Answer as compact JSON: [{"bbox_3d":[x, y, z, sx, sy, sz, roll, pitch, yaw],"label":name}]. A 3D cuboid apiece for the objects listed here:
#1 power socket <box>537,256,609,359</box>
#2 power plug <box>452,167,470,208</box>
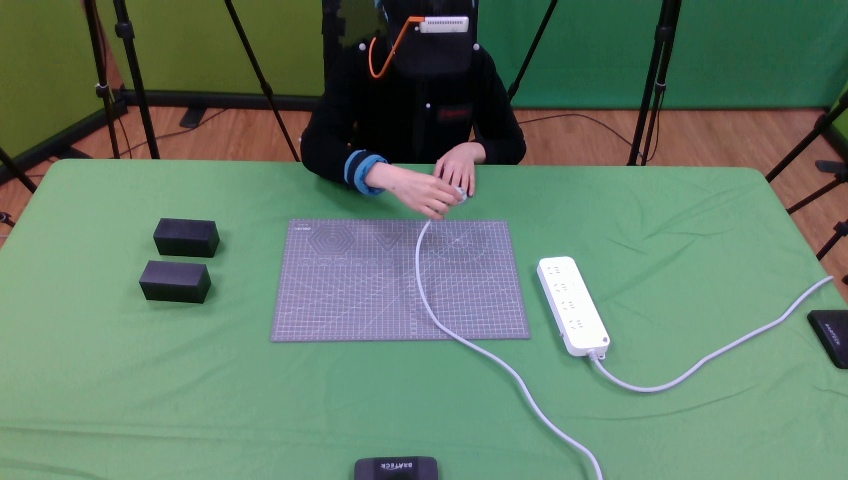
[{"bbox_3d":[0.266,0.115,1.097,0.072,0.033,0.225,-5,47,-8],"label":"power socket"},{"bbox_3d":[0.072,-0.098,1.168,0.035,0.073,0.052,-12,54,-13],"label":"power plug"}]
